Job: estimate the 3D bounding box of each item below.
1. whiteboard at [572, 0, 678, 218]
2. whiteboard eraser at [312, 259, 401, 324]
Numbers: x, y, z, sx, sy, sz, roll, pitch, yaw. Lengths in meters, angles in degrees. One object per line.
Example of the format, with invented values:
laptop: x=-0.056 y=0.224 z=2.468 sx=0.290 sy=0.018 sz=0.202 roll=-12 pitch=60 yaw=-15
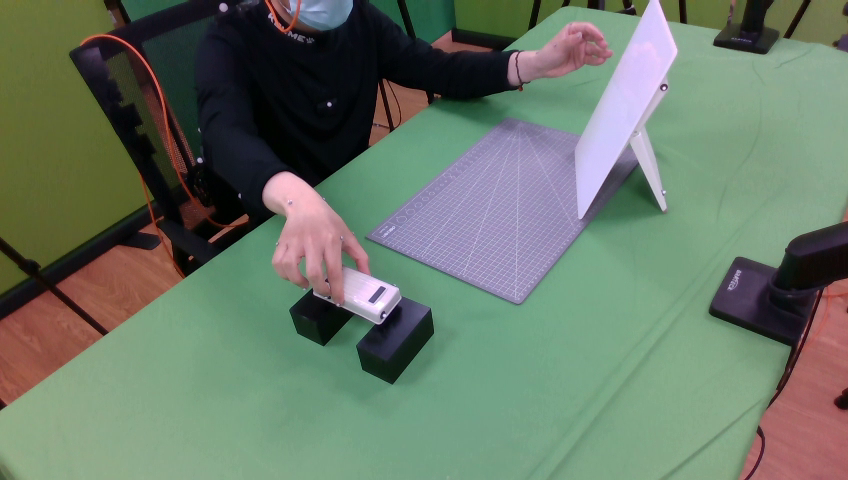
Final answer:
whiteboard: x=0.367 y=-0.188 z=0.965 sx=0.144 sy=0.305 sz=0.216 roll=17 pitch=42 yaw=-3
whiteboard eraser: x=-0.091 y=0.070 z=0.812 sx=0.112 sy=0.042 sz=0.056 roll=22 pitch=47 yaw=23
